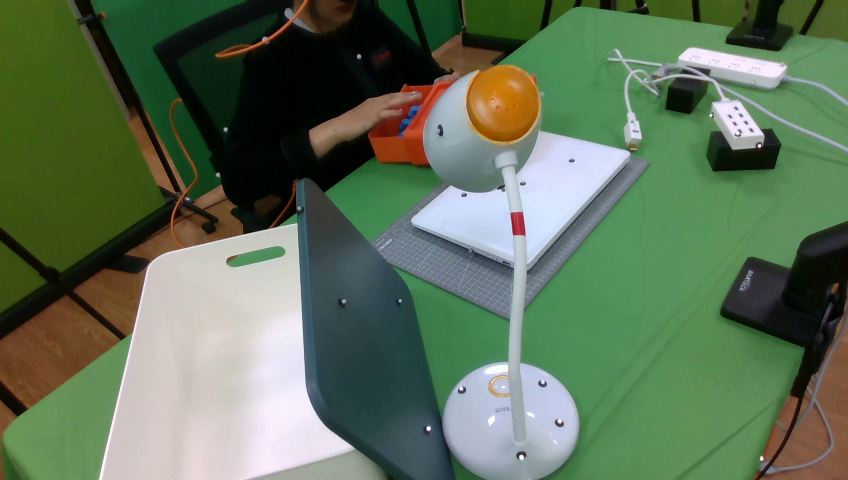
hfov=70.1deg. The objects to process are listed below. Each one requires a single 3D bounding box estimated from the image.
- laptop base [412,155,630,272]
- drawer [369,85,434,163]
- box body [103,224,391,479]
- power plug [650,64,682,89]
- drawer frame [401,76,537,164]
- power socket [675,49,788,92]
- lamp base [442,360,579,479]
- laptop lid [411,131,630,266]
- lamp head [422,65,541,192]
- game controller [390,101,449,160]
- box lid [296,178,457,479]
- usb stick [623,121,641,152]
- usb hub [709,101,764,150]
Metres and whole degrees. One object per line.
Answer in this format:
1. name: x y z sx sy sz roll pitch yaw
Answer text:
1. laptop base: 0.175 -0.084 1.056 0.233 0.023 0.355 21 48 35
2. drawer: 0.027 -0.234 1.200 0.210 0.073 0.194 5 44 25
3. box body: -0.190 0.161 0.723 0.255 0.161 0.361 -13 40 -5
4. power plug: 0.498 -0.341 1.263 0.035 0.052 0.072 20 10 -7
5. drawer frame: 0.094 -0.231 1.168 0.212 0.083 0.201 2 42 25
6. power socket: 0.647 -0.363 1.284 0.225 0.033 0.072 26 53 35
7. lamp base: 0.094 0.158 0.657 0.161 0.181 0.178 -13 42 -5
8. laptop lid: 0.172 -0.094 1.050 0.239 0.013 0.358 23 49 36
9. lamp head: 0.060 -0.106 0.560 0.113 0.112 0.122 -17 1 -8
10. game controller: -0.011 -0.229 1.228 0.096 0.052 0.155 -2 43 29
11. box lid: -0.060 0.103 0.702 0.015 0.265 0.369 -30 39 11
12. usb stick: 0.389 -0.191 1.128 0.021 0.027 0.059 9 61 -9
13. usb hub: 0.534 -0.199 1.040 0.049 0.025 0.124 -5 39 8
